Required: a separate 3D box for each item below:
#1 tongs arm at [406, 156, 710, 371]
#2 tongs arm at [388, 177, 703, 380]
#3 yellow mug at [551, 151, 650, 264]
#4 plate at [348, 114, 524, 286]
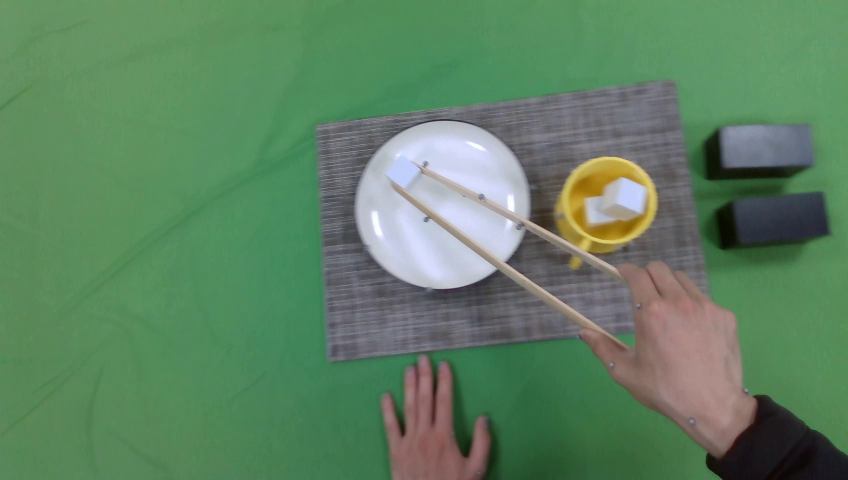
[{"bbox_3d":[0.105,0.005,0.599,0.381,0.027,0.050,31,79,35],"label":"tongs arm"},{"bbox_3d":[0.089,0.022,0.597,0.028,0.028,0.383,-47,54,-10],"label":"tongs arm"},{"bbox_3d":[0.194,-0.031,0.695,0.100,0.064,0.130,25,84,7],"label":"yellow mug"},{"bbox_3d":[0.014,-0.046,0.726,0.207,0.039,0.207,-1,81,4],"label":"plate"}]
